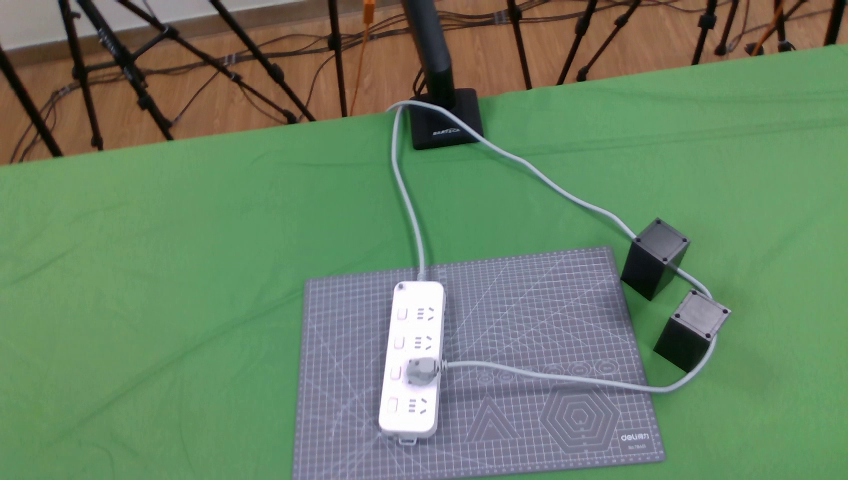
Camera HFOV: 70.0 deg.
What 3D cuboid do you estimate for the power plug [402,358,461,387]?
[{"bbox_3d":[0.008,0.170,0.761,0.072,0.053,0.035,10,61,11],"label":"power plug"}]

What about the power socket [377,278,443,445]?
[{"bbox_3d":[-0.016,0.152,0.797,0.072,0.033,0.225,0,58,7],"label":"power socket"}]
